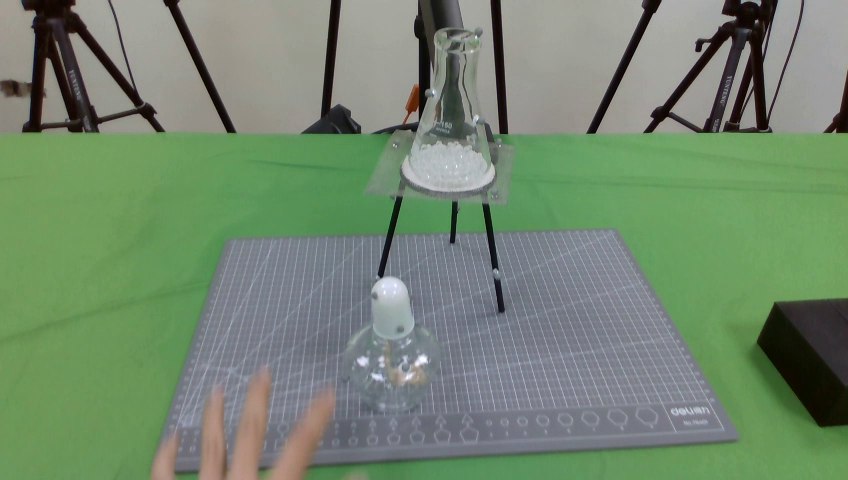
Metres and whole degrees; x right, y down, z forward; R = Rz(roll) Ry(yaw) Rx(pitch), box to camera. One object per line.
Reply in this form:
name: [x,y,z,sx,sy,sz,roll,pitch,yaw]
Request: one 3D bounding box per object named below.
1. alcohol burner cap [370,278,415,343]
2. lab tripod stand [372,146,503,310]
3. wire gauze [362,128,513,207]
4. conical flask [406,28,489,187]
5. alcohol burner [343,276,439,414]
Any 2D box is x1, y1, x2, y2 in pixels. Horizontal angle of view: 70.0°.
alcohol burner cap: [-0.025,0.050,0.453,0.034,0.048,0.033,-4,39,3]
lab tripod stand: [0.023,-0.012,0.588,0.148,0.132,0.147,3,35,-2]
wire gauze: [0.018,-0.066,0.550,0.121,0.011,0.124,7,38,7]
conical flask: [0.023,-0.113,0.512,0.075,0.123,0.074,2,36,-1]
alcohol burner: [-0.026,0.079,0.475,0.078,0.120,0.077,1,34,0]
